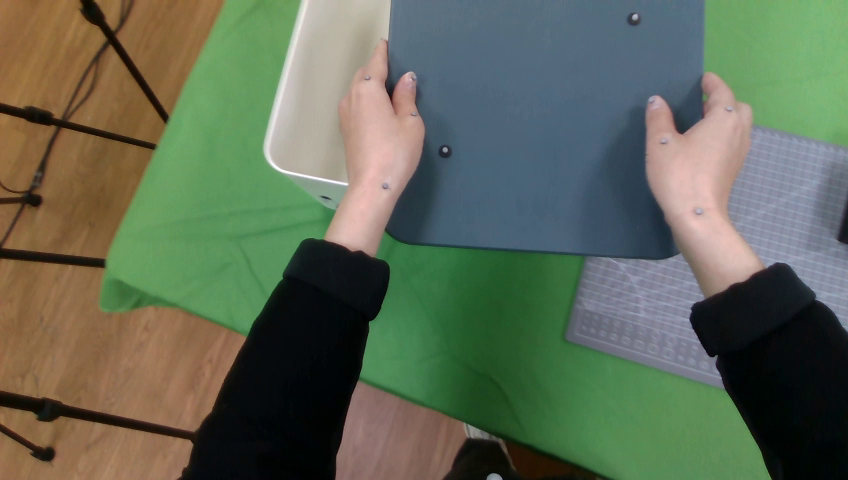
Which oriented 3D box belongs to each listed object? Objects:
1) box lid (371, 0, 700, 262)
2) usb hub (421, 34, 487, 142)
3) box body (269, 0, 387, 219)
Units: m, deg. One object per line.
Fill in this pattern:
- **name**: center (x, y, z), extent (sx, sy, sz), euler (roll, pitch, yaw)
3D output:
- **box lid**: center (0.097, -0.169, 0.510), extent (0.263, 0.015, 0.370), euler (4, 84, 2)
- **usb hub**: center (0.036, -0.183, 0.727), extent (0.049, 0.025, 0.125), euler (16, 81, 7)
- **box body**: center (0.015, -0.196, 0.668), extent (0.254, 0.161, 0.362), euler (11, 79, 8)
